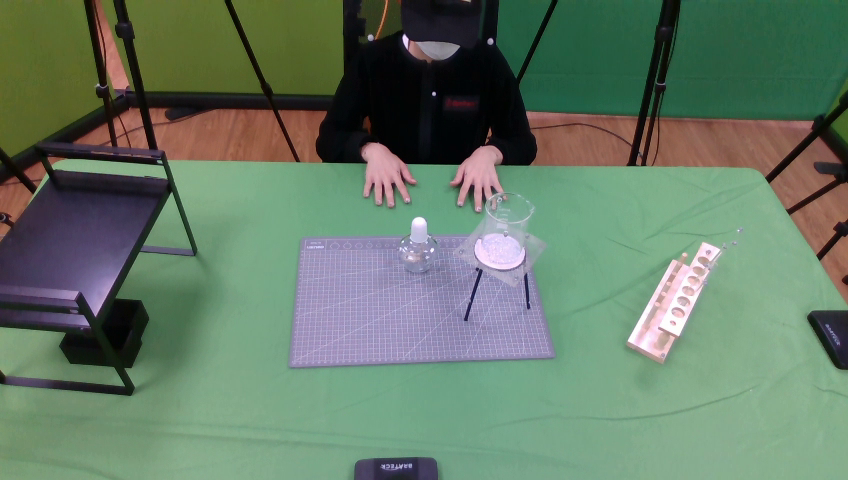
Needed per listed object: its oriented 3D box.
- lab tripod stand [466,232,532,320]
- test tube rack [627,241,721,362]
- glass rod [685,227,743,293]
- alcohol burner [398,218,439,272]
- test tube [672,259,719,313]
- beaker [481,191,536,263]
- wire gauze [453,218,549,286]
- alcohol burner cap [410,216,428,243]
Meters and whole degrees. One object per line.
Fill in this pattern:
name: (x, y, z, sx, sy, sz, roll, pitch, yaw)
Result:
lab tripod stand: (0.125, 0.059, 1.065, 0.148, 0.132, 0.147, 1, 45, 0)
test tube rack: (0.452, 0.098, 1.087, 0.066, 0.085, 0.242, 28, 51, 22)
glass rod: (0.500, 0.041, 1.053, 0.008, 0.200, 0.008, 4, 53, -5)
alcohol burner: (-0.010, 0.004, 1.123, 0.078, 0.120, 0.077, 1, 47, 0)
test tube: (0.460, 0.082, 1.032, 0.017, 0.151, 0.017, 4, 52, -5)
beaker: (0.134, -0.019, 0.982, 0.084, 0.101, 0.073, -5, 46, -8)
wire gauze: (0.129, 0.014, 1.018, 0.124, 0.011, 0.121, 26, 47, 25)
alcohol burner cap: (-0.009, -0.022, 1.099, 0.034, 0.048, 0.033, 2, 41, -1)
